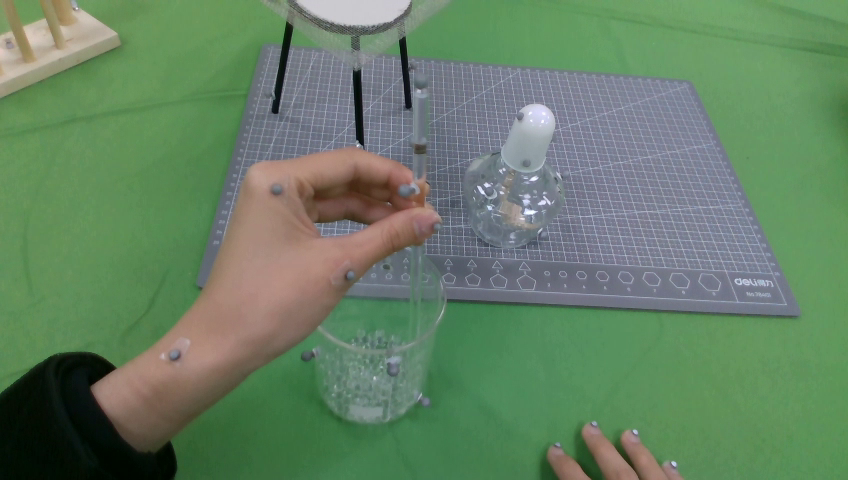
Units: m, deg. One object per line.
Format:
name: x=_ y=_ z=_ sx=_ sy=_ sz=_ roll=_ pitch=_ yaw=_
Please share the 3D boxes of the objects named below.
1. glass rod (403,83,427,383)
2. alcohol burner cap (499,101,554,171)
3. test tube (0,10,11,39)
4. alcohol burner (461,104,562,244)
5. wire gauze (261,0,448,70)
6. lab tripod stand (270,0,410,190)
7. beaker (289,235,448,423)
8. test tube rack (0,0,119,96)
glass rod: x=-0.006 y=0.012 z=0.316 sx=0.008 sy=0.201 sz=0.008 roll=2 pitch=40 yaw=-1
alcohol burner cap: x=0.073 y=-0.073 z=0.418 sx=0.034 sy=0.048 sz=0.033 roll=4 pitch=55 yaw=-5
test tube: x=-0.371 y=-0.232 z=0.486 sx=0.017 sy=0.151 sz=0.017 roll=2 pitch=48 yaw=-2
alcohol burner: x=0.068 y=-0.052 z=0.446 sx=0.078 sy=0.120 sz=0.077 roll=5 pitch=49 yaw=-6
wire gauze: x=-0.054 y=-0.177 z=0.430 sx=0.124 sy=0.011 sz=0.121 roll=35 pitch=55 yaw=18
lab tripod stand: x=-0.059 y=-0.135 z=0.482 sx=0.149 sy=0.132 sz=0.147 roll=5 pitch=51 yaw=-6
beaker: x=-0.033 y=0.057 z=0.356 sx=0.084 sy=0.101 sz=0.073 roll=-4 pitch=51 yaw=-10
test tube rack: x=-0.387 y=-0.164 z=0.493 sx=0.066 sy=0.086 sz=0.242 roll=34 pitch=54 yaw=19
